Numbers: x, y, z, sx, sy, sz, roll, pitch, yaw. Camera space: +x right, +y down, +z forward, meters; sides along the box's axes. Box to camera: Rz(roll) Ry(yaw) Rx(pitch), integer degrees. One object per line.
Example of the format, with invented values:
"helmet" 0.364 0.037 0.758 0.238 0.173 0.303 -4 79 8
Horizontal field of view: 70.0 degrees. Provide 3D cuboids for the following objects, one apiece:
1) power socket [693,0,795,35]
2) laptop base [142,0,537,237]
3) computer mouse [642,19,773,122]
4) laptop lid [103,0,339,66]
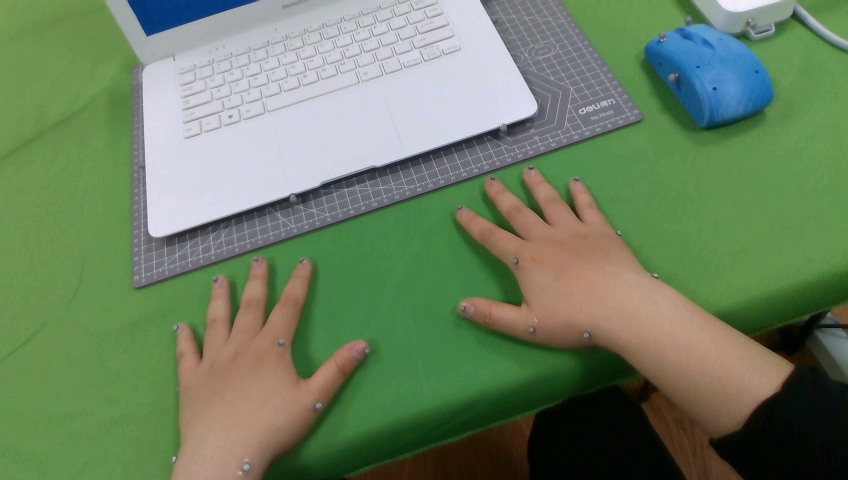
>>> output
"power socket" 0.277 -0.283 0.592 0.072 0.033 0.224 -16 56 1
"laptop base" -0.096 -0.145 0.584 0.354 0.023 0.233 -19 59 -2
"computer mouse" 0.236 -0.151 0.511 0.063 0.041 0.116 -19 51 1
"laptop lid" -0.156 -0.319 0.569 0.357 0.244 0.013 -20 43 0
